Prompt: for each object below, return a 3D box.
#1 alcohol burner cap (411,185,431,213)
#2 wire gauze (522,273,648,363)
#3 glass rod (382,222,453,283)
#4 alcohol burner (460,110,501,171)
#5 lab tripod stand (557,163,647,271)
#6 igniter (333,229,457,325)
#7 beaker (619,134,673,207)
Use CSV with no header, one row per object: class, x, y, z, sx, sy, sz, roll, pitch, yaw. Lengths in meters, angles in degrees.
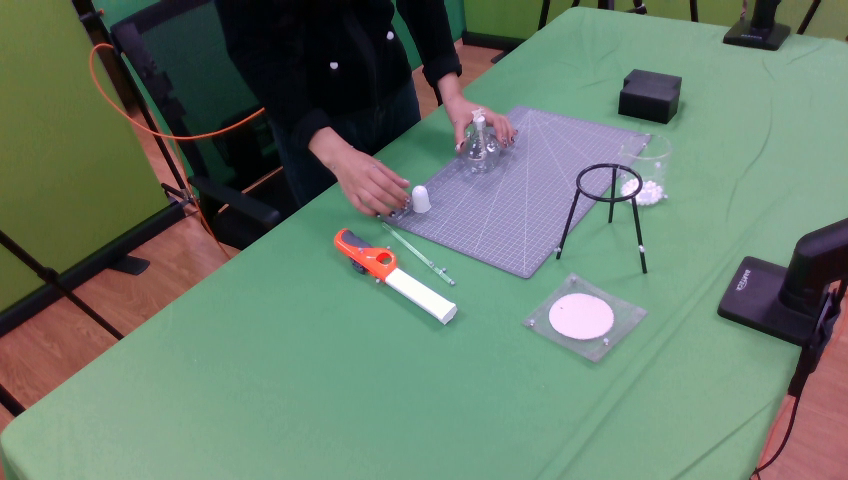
alcohol burner cap,-0.007,-0.074,1.050,0.034,0.048,0.033,-5,41,5
wire gauze,0.220,0.105,0.828,0.125,0.011,0.120,-35,47,-30
glass rod,-0.014,0.016,0.976,0.008,0.008,0.198,-30,44,-22
alcohol burner,0.103,-0.186,1.105,0.078,0.119,0.077,-4,42,5
lab tripod stand,0.271,-0.034,0.885,0.148,0.132,0.147,-4,40,4
igniter,-0.055,0.049,0.929,0.057,0.025,0.274,-42,49,-20
beaker,0.357,-0.111,0.986,0.084,0.101,0.073,-10,40,1
